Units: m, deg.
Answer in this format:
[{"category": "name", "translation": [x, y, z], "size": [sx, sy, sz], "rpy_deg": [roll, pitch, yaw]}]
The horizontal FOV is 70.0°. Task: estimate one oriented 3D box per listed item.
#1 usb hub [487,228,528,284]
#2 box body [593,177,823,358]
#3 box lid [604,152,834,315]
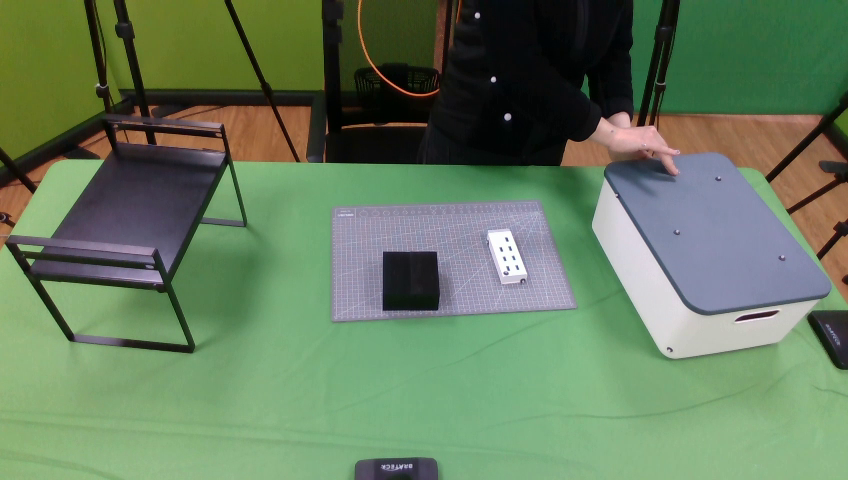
[{"category": "usb hub", "translation": [0.159, 0.029, 1.173], "size": [0.049, 0.025, 0.124], "rpy_deg": [-5, 46, -9]}, {"category": "box body", "translation": [0.496, 0.022, 1.113], "size": [0.254, 0.161, 0.361], "rpy_deg": [-7, 47, -10]}, {"category": "box lid", "translation": [0.499, -0.030, 1.061], "size": [0.264, 0.015, 0.369], "rpy_deg": [-6, 47, -10]}]
